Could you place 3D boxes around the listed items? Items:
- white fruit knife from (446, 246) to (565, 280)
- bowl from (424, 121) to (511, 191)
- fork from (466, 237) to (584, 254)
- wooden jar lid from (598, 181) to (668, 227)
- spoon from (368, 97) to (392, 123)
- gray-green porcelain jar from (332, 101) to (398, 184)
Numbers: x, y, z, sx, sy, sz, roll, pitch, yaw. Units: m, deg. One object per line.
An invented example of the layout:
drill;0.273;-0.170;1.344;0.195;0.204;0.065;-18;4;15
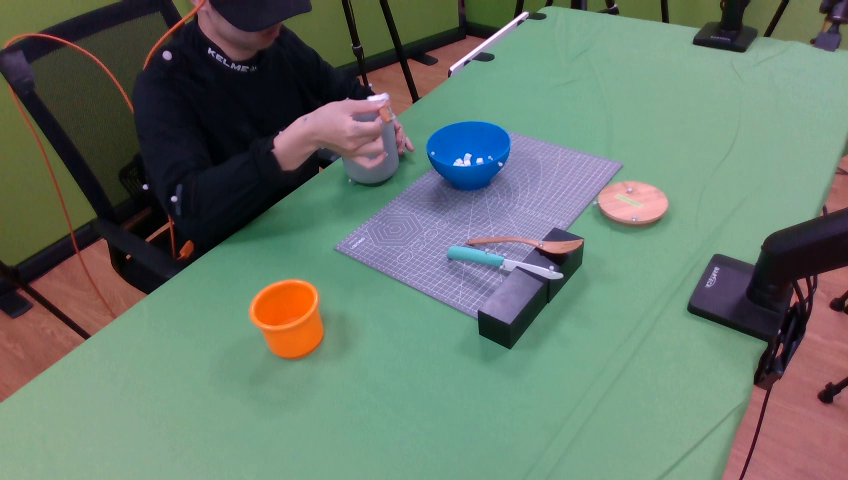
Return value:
white fruit knife;0.111;0.033;0.868;0.205;0.027;0.016;11;44;40
bowl;0.080;-0.140;1.074;0.151;0.077;0.150;-4;40;4
fork;0.142;0.005;0.894;0.205;0.019;0.028;4;43;41
wooden jar lid;0.340;-0.057;0.988;0.108;0.021;0.108;-5;41;5
spoon;-0.067;-0.210;0.966;0.042;0.022;0.193;-11;19;-3
gray-green porcelain jar;-0.104;-0.174;1.109;0.106;0.127;0.105;-4;40;4
